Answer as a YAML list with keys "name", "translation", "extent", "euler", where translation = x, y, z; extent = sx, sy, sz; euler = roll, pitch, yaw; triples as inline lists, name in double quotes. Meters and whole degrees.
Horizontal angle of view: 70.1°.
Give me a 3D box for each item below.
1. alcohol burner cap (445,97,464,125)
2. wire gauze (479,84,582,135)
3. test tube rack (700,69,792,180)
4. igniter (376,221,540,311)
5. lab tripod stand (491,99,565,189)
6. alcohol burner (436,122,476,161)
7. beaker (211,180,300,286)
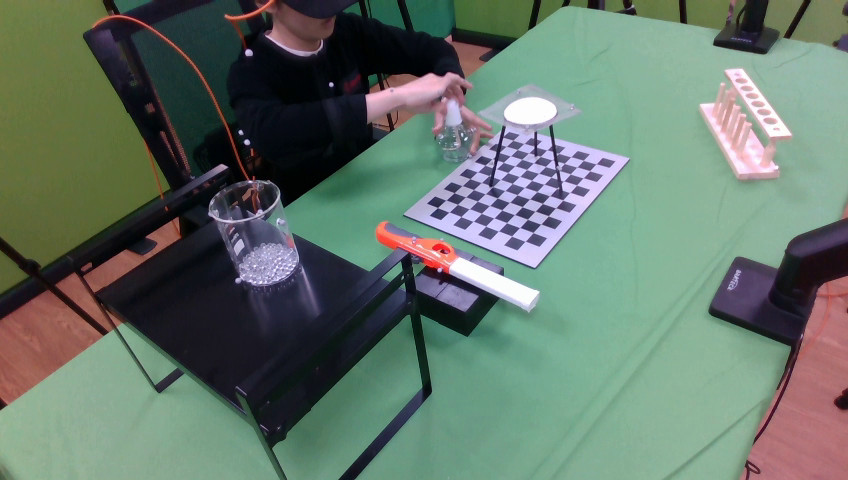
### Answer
- name: "alcohol burner cap"
  translation: [0.055, -0.241, 1.117]
  extent: [0.034, 0.048, 0.033]
  euler: [-8, 34, 6]
- name: "wire gauze"
  translation: [0.176, -0.216, 1.006]
  extent: [0.125, 0.011, 0.120]
  euler: [-29, 46, -22]
- name: "test tube rack"
  translation: [0.572, -0.215, 1.090]
  extent: [0.066, 0.085, 0.241]
  euler: [-3, 41, 7]
- name: "igniter"
  translation: [0.037, 0.031, 0.858]
  extent: [0.274, 0.025, 0.057]
  euler: [24, 46, 29]
- name: "lab tripod stand"
  translation: [0.184, -0.163, 1.047]
  extent: [0.148, 0.132, 0.147]
  euler: [-5, 42, 5]
- name: "alcohol burner"
  translation: [0.060, -0.210, 1.141]
  extent: [0.078, 0.119, 0.077]
  euler: [-3, 39, 3]
- name: "beaker"
  translation: [-0.183, -0.007, 0.674]
  extent: [0.074, 0.101, 0.083]
  euler: [-1, 40, 7]
